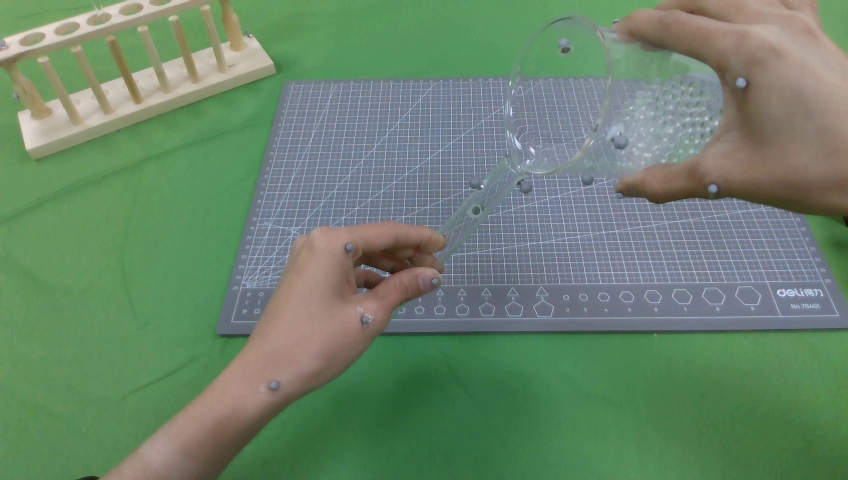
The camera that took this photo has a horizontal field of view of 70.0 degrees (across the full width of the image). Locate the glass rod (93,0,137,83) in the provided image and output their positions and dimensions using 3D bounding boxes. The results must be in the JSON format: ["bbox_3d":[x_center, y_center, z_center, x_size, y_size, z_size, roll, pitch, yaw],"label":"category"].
[{"bbox_3d":[-0.290,-0.216,0.532,0.008,0.201,0.008,1,53,-1],"label":"glass rod"}]

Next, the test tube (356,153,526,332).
[{"bbox_3d":[0.004,0.007,0.351,0.017,0.150,0.017,30,32,-21],"label":"test tube"}]

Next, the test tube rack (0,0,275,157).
[{"bbox_3d":[-0.277,-0.174,0.584,0.242,0.086,0.066,-25,54,-17],"label":"test tube rack"}]

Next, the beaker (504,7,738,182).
[{"bbox_3d":[0.101,-0.066,0.312,0.101,0.084,0.073,1,45,-29],"label":"beaker"}]
